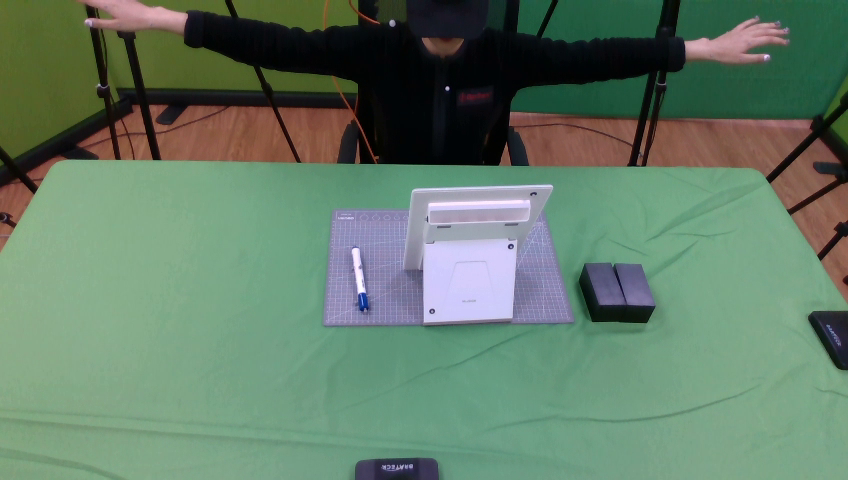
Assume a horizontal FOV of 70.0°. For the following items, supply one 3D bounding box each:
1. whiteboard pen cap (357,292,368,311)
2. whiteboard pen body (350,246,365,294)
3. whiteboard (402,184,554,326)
[{"bbox_3d":[-0.110,0.110,1.083,0.018,0.018,0.033,-6,48,-9],"label":"whiteboard pen cap"},{"bbox_3d":[-0.121,0.066,1.121,0.017,0.017,0.140,-6,49,-9],"label":"whiteboard pen body"},{"bbox_3d":[0.081,0.044,1.005,0.217,0.306,0.143,-1,66,-6],"label":"whiteboard"}]
